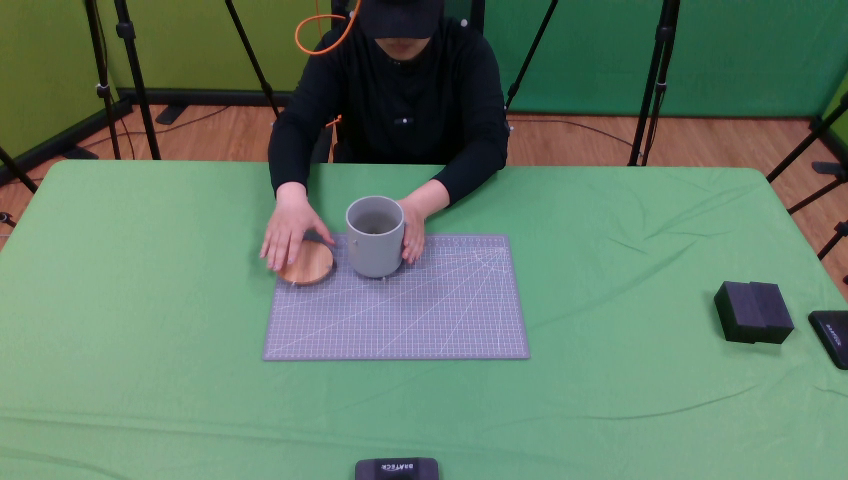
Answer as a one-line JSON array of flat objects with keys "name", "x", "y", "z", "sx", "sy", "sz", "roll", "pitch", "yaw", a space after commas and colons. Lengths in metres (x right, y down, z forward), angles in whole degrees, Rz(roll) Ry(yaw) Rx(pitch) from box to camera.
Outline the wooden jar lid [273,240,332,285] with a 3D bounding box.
[{"name": "wooden jar lid", "x": -0.227, "y": 0.044, "z": 1.136, "sx": 0.108, "sy": 0.021, "sz": 0.107, "roll": 3, "pitch": 47, "yaw": -3}]

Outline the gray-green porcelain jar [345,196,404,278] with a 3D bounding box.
[{"name": "gray-green porcelain jar", "x": -0.091, "y": -0.001, "z": 1.117, "sx": 0.106, "sy": 0.127, "sz": 0.105, "roll": 2, "pitch": 46, "yaw": -2}]
